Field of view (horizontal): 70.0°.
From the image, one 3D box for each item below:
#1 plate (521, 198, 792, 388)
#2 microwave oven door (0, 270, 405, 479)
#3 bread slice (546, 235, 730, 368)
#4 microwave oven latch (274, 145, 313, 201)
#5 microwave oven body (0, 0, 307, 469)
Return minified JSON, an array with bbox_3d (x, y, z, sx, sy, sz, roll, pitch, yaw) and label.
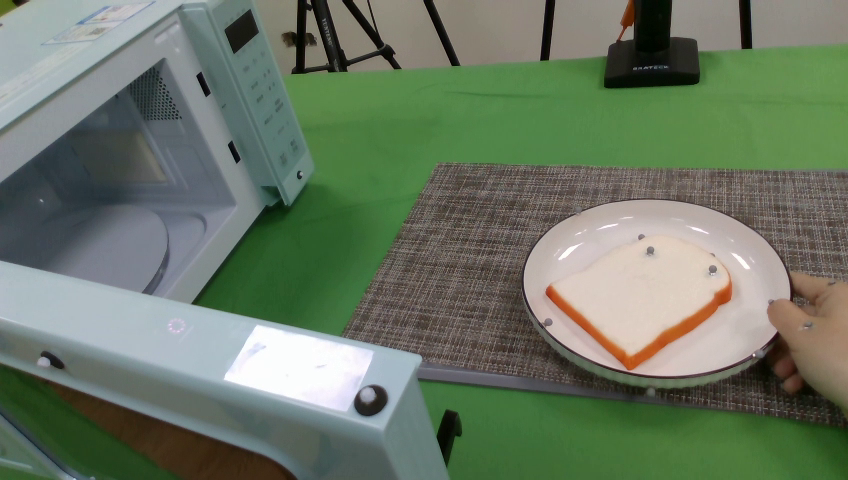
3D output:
[{"bbox_3d":[0.187,0.041,0.507,0.209,0.038,0.207,-9,39,8],"label":"plate"},{"bbox_3d":[-0.141,0.114,0.332,0.354,0.246,0.039,8,44,25],"label":"microwave oven door"},{"bbox_3d":[0.184,0.040,0.511,0.131,0.019,0.103,-27,41,-16],"label":"bread slice"},{"bbox_3d":[-0.162,-0.082,0.738,0.030,0.030,0.078,4,43,19],"label":"microwave oven latch"},{"bbox_3d":[-0.369,-0.045,0.601,0.325,0.263,0.438,3,43,19],"label":"microwave oven body"}]
